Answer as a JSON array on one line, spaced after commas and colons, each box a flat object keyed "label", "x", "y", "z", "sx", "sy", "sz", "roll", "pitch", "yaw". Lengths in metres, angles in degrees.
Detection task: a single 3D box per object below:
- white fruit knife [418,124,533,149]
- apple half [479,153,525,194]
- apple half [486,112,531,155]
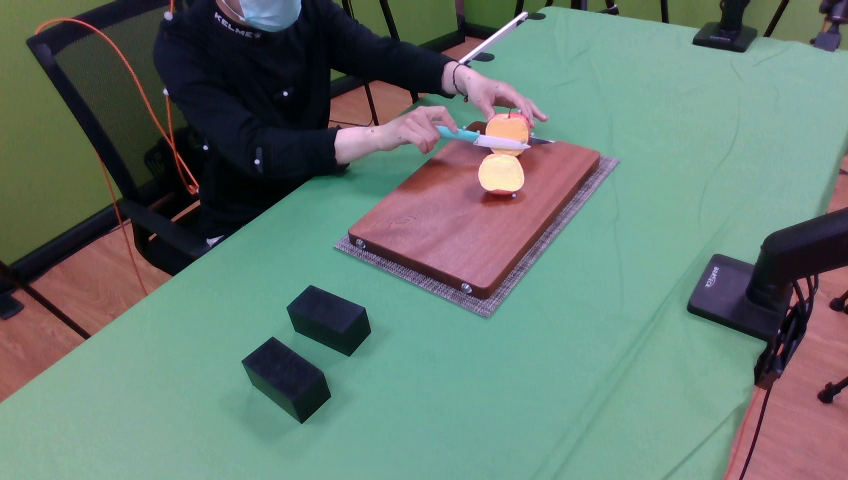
[{"label": "white fruit knife", "x": 0.090, "y": -0.183, "z": 1.077, "sx": 0.207, "sy": 0.027, "sz": 0.016, "roll": 10, "pitch": 41, "yaw": 9}, {"label": "apple half", "x": 0.130, "y": -0.108, "z": 1.016, "sx": 0.081, "sy": 0.033, "sz": 0.081, "roll": 0, "pitch": 66, "yaw": 1}, {"label": "apple half", "x": 0.156, "y": -0.195, "z": 1.089, "sx": 0.080, "sy": 0.075, "sz": 0.053, "roll": 1, "pitch": 27, "yaw": 22}]
